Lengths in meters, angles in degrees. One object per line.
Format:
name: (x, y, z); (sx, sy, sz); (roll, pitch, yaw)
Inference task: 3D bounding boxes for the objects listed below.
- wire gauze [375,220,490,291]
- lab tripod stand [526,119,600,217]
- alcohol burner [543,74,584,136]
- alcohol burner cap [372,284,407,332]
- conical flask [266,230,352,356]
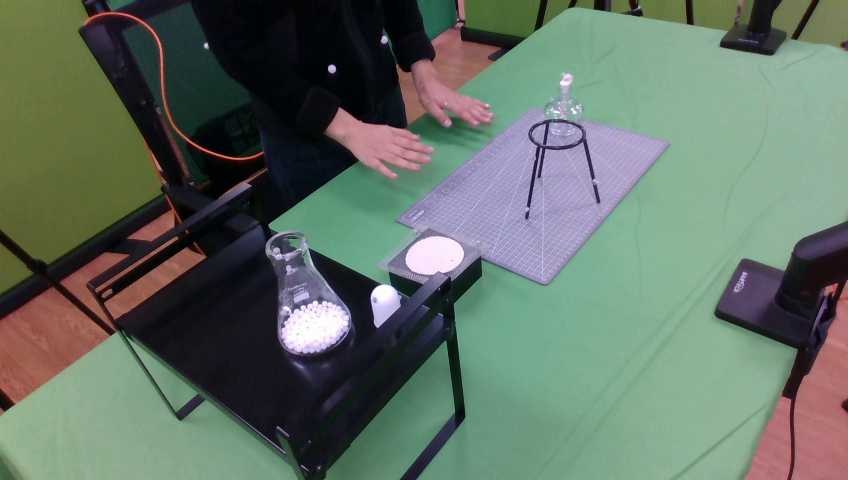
wire gauze: (0.012, 0.022, 0.882); (0.120, 0.011, 0.125); (22, 47, 33)
lab tripod stand: (0.220, -0.122, 0.995); (0.148, 0.132, 0.147); (-3, 39, 3)
alcohol burner: (0.270, -0.263, 1.169); (0.078, 0.119, 0.077); (-6, 39, 5)
alcohol burner cap: (-0.036, 0.066, 0.608); (0.034, 0.048, 0.033); (-5, 38, 5)
conical flask: (-0.116, 0.047, 0.580); (0.075, 0.122, 0.075); (-5, 40, 4)
